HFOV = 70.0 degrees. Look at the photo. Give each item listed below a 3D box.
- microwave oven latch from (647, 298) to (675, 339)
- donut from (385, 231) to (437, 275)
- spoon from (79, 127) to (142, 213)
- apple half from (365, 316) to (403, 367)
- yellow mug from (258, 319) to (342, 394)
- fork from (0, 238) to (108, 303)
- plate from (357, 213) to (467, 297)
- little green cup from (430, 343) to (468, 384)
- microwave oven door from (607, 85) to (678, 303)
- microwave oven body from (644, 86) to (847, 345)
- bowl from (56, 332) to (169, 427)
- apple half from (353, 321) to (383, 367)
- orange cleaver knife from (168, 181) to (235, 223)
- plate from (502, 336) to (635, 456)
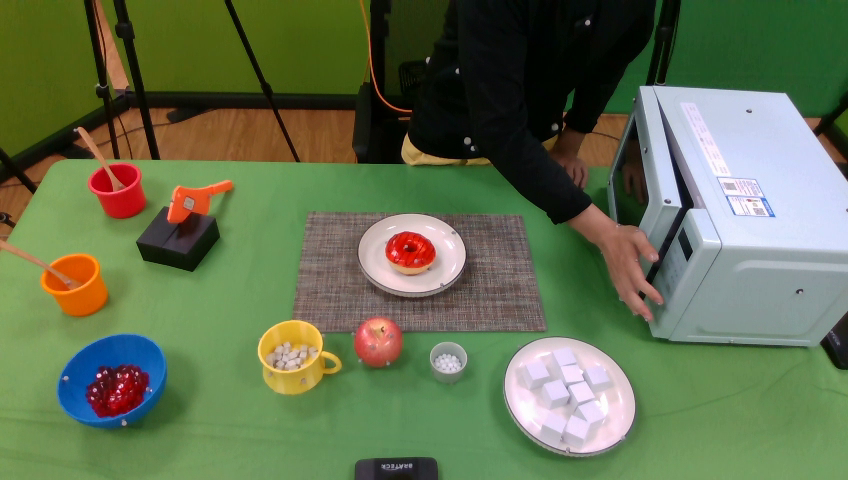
[{"bbox_3d":[0.413,0.135,1.060,0.030,0.029,0.078,5,45,2],"label":"microwave oven latch"},{"bbox_3d":[-0.025,0.024,1.141,0.099,0.048,0.098,3,44,-3],"label":"donut"},{"bbox_3d":[-0.625,-0.139,1.203,0.041,0.021,0.194,-33,101,-26],"label":"spoon"},{"bbox_3d":[-0.063,0.165,1.000,0.053,0.075,0.080,-16,45,-24],"label":"apple half"},{"bbox_3d":[-0.195,0.188,0.972,0.131,0.064,0.099,9,47,4],"label":"yellow mug"},{"bbox_3d":[-0.633,0.048,1.017,0.208,0.018,0.028,40,43,-27],"label":"fork"},{"bbox_3d":[-0.023,0.032,1.150,0.209,0.038,0.208,2,46,-2],"label":"plate"},{"bbox_3d":[0.039,0.203,0.993,0.061,0.039,0.061,3,46,-2],"label":"little green cup"},{"bbox_3d":[0.403,-0.096,1.141,0.039,0.245,0.354,7,46,4],"label":"microwave oven door"},{"bbox_3d":[0.567,-0.053,1.118,0.326,0.261,0.439,2,45,-1],"label":"microwave oven body"},{"bbox_3d":[-0.456,0.222,0.912,0.151,0.077,0.150,2,46,-2],"label":"bowl"},{"bbox_3d":[-0.097,0.177,0.984,0.033,0.081,0.081,-17,49,-24],"label":"apple half"},{"bbox_3d":[-0.436,-0.078,1.196,0.012,0.077,0.211,16,15,10],"label":"orange cleaver knife"},{"bbox_3d":[0.225,0.248,0.963,0.208,0.039,0.206,2,46,-2],"label":"plate"}]
